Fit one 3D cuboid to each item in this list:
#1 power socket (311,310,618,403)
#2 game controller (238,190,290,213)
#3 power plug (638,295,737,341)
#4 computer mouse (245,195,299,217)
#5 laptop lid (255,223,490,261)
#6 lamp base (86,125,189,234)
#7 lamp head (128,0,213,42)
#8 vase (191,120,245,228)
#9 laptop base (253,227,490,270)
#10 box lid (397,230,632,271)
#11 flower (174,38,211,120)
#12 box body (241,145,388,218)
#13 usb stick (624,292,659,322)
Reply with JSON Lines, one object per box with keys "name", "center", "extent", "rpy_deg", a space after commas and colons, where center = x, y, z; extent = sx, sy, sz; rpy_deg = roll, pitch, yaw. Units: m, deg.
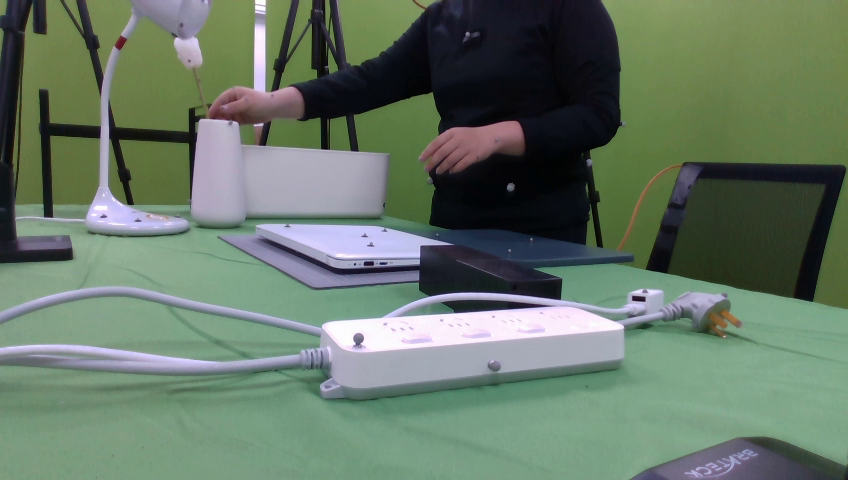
{"name": "power socket", "center": [0.034, 0.074, 0.415], "extent": [0.228, 0.032, 0.072], "rpy_deg": [-1, 7, -24]}
{"name": "game controller", "center": [-0.391, -0.094, 1.465], "extent": [0.097, 0.051, 0.154], "rpy_deg": [-3, 8, -29]}
{"name": "power plug", "center": [0.235, 0.077, 0.535], "extent": [0.072, 0.035, 0.052], "rpy_deg": [-34, 40, -6]}
{"name": "computer mouse", "center": [-0.344, -0.078, 1.368], "extent": [0.118, 0.041, 0.062], "rpy_deg": [-12, 16, -30]}
{"name": "laptop lid", "center": [-0.093, 0.000, 0.911], "extent": [0.243, 0.013, 0.355], "rpy_deg": [1, 7, -30]}
{"name": "lamp base", "center": [-0.497, -0.105, 1.027], "extent": [0.179, 0.180, 0.160], "rpy_deg": [1, 7, 3]}
{"name": "lamp head", "center": [-0.423, -0.394, 0.980], "extent": [0.123, 0.112, 0.112], "rpy_deg": [20, 7, -3]}
{"name": "vase", "center": [-0.389, -0.124, 1.142], "extent": [0.098, 0.200, 0.098], "rpy_deg": [3, 9, 0]}
{"name": "laptop base", "center": [-0.096, 0.012, 0.911], "extent": [0.237, 0.023, 0.352], "rpy_deg": [3, 6, -32]}
{"name": "box lid", "center": [0.140, 0.012, 1.044], "extent": [0.265, 0.015, 0.369], "rpy_deg": [-1, 9, -32]}
{"name": "flower", "center": [-0.401, -0.207, 1.141], "extent": [0.038, 0.361, 0.044], "rpy_deg": [-14, 3, 44]}
{"name": "box body", "center": [-0.297, -0.143, 1.474], "extent": [0.366, 0.160, 0.253], "rpy_deg": [-1, 9, -30]}
{"name": "usb stick", "center": [0.211, 0.064, 0.580], "extent": [0.021, 0.027, 0.059], "rpy_deg": [-2, -4, 36]}
